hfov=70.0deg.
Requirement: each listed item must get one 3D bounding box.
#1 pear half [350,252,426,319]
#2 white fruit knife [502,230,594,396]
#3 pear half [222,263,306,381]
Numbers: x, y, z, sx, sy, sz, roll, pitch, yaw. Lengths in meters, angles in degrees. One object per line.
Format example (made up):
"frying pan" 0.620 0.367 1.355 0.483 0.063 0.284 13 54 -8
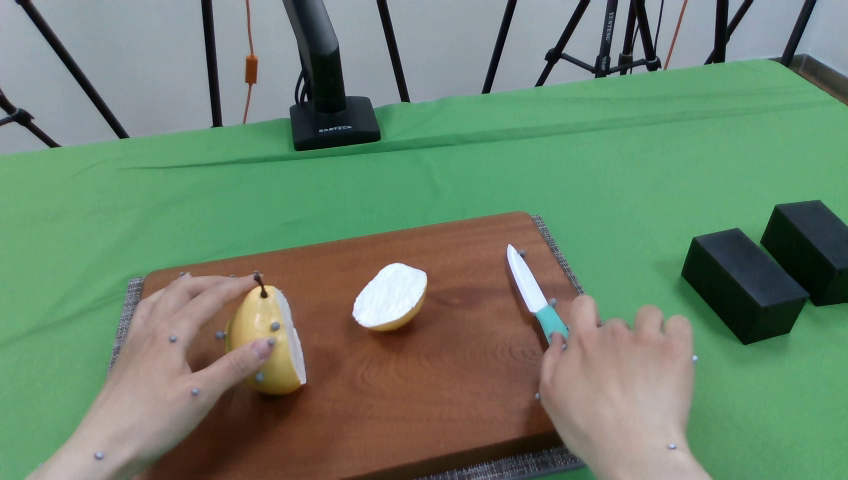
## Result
"pear half" -0.028 0.045 0.539 0.070 0.031 0.087 -14 26 9
"white fruit knife" 0.104 0.053 0.538 0.027 0.016 0.205 3 38 -16
"pear half" -0.130 0.061 0.465 0.056 0.111 0.075 -18 39 -13
